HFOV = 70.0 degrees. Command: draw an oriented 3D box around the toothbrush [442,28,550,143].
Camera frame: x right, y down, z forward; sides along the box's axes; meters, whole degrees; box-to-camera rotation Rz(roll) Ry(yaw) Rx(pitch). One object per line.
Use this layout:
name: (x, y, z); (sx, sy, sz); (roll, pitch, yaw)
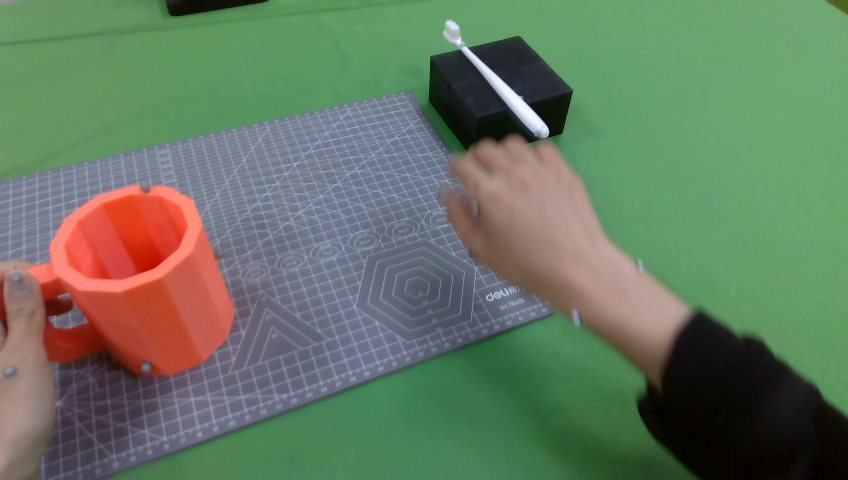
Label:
toothbrush: (0.062, -0.146, 0.556); (0.014, 0.017, 0.180); (-18, 52, -21)

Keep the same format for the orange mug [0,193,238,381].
orange mug: (-0.193, 0.037, 0.391); (0.126, 0.101, 0.082); (-19, 52, -23)
